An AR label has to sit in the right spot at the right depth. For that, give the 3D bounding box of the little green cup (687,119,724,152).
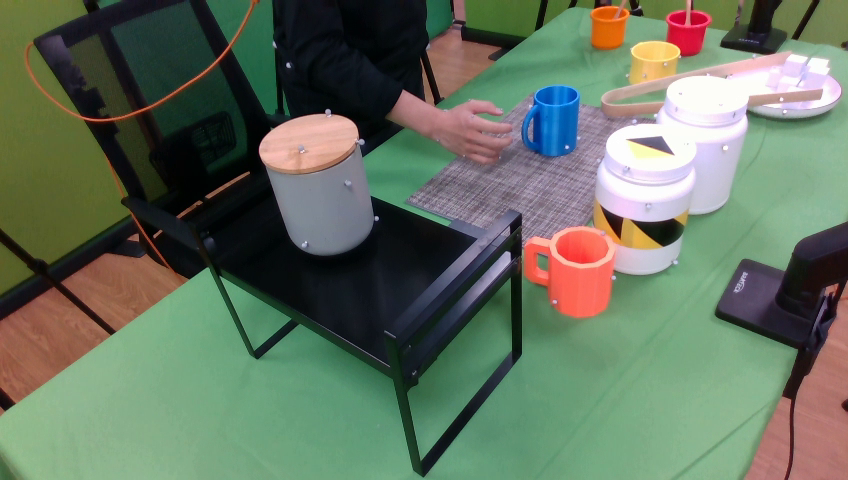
[{"bbox_3d":[0.514,-0.191,1.109,0.061,0.039,0.061,-5,40,5],"label":"little green cup"}]

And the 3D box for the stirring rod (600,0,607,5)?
[{"bbox_3d":[0.413,-0.629,1.377,0.014,0.176,0.006,8,17,33],"label":"stirring rod"}]

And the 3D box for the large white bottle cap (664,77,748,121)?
[{"bbox_3d":[0.421,-0.212,0.905,0.115,0.018,0.114,-4,40,4],"label":"large white bottle cap"}]

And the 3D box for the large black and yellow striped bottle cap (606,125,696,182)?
[{"bbox_3d":[0.305,-0.119,0.816,0.115,0.019,0.114,-5,41,5],"label":"large black and yellow striped bottle cap"}]

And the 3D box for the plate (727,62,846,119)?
[{"bbox_3d":[0.709,-0.292,1.197,0.207,0.039,0.206,-4,40,4],"label":"plate"}]

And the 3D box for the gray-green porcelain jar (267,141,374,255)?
[{"bbox_3d":[-0.116,-0.054,0.703,0.106,0.127,0.105,-4,40,4],"label":"gray-green porcelain jar"}]

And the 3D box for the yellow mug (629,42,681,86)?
[{"bbox_3d":[0.495,-0.389,1.322,0.100,0.064,0.130,-14,40,-6],"label":"yellow mug"}]

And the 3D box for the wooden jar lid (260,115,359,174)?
[{"bbox_3d":[-0.124,-0.101,0.662,0.108,0.021,0.108,-4,41,4],"label":"wooden jar lid"}]

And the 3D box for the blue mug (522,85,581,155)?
[{"bbox_3d":[0.233,-0.218,1.127,0.117,0.106,0.081,-23,43,-16],"label":"blue mug"}]

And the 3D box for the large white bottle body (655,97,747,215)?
[{"bbox_3d":[0.431,-0.148,0.959,0.130,0.185,0.130,-4,41,4],"label":"large white bottle body"}]

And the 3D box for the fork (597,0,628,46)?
[{"bbox_3d":[0.478,-0.559,1.456,0.028,0.019,0.207,35,100,37],"label":"fork"}]

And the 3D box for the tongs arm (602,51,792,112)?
[{"bbox_3d":[0.552,-0.320,1.224,0.384,0.027,0.050,-10,43,7],"label":"tongs arm"}]

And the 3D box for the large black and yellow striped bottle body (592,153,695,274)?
[{"bbox_3d":[0.313,-0.056,0.872,0.131,0.185,0.130,-4,41,4],"label":"large black and yellow striped bottle body"}]

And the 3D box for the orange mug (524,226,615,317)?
[{"bbox_3d":[0.201,0.039,0.845,0.125,0.101,0.083,18,46,21],"label":"orange mug"}]

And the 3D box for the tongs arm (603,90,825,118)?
[{"bbox_3d":[0.546,-0.262,1.163,0.386,0.028,0.028,-1,49,18],"label":"tongs arm"}]

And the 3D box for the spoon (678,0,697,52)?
[{"bbox_3d":[0.614,-0.526,1.402,0.041,0.022,0.193,3,86,11],"label":"spoon"}]
